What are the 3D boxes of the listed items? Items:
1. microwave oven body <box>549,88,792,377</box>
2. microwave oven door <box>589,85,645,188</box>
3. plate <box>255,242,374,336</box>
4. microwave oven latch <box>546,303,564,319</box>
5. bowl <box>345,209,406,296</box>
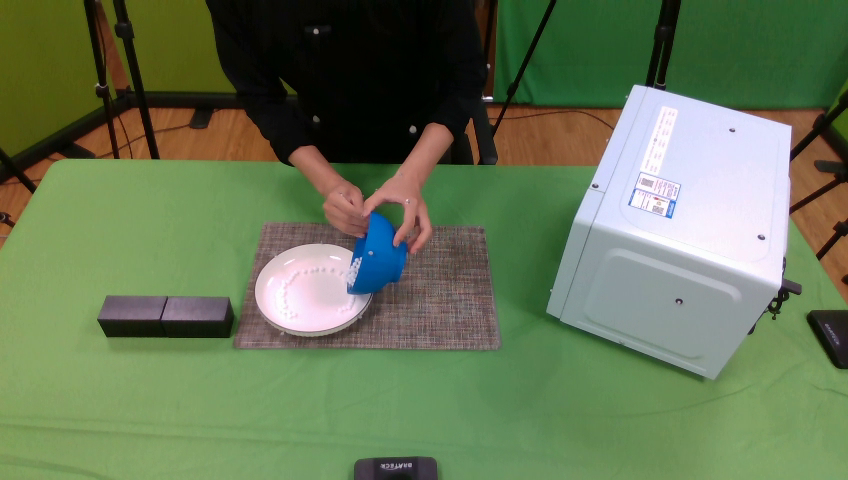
[{"bbox_3d":[0.456,-0.028,1.088,0.325,0.261,0.440,20,47,16],"label":"microwave oven body"},{"bbox_3d":[0.342,-0.107,1.148,0.039,0.245,0.354,20,48,15],"label":"microwave oven door"},{"bbox_3d":[-0.192,0.090,1.080,0.208,0.039,0.206,2,46,-2],"label":"plate"},{"bbox_3d":[0.242,0.102,1.081,0.030,0.029,0.079,21,48,17],"label":"microwave oven latch"},{"bbox_3d":[-0.078,0.029,1.039,0.077,0.152,0.150,15,44,-13],"label":"bowl"}]
